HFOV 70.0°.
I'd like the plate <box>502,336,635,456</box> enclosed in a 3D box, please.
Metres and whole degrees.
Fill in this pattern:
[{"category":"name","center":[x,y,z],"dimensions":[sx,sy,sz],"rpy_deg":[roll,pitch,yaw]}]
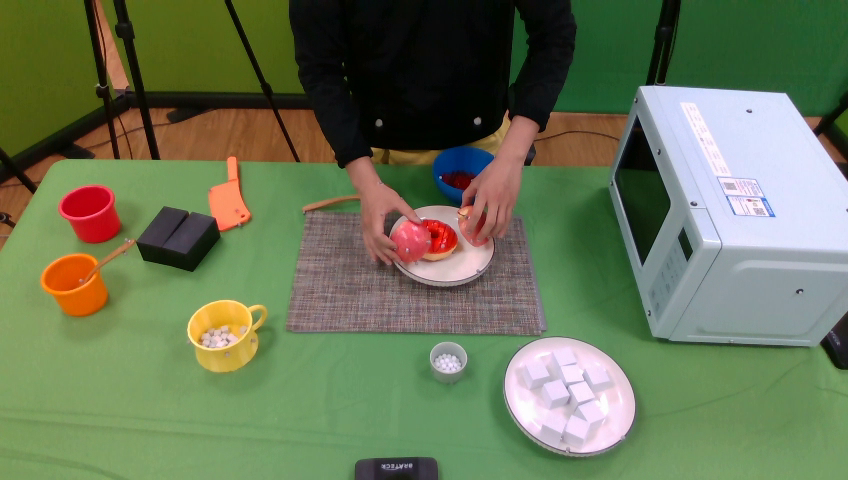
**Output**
[{"category":"plate","center":[0.225,0.248,0.964],"dimensions":[0.208,0.039,0.206],"rpy_deg":[2,46,-2]}]

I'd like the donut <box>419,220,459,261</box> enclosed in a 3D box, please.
[{"category":"donut","center":[0.017,0.000,1.169],"dimensions":[0.099,0.048,0.098],"rpy_deg":[5,40,-4]}]

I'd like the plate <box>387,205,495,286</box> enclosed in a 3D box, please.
[{"category":"plate","center":[0.033,0.014,1.171],"dimensions":[0.209,0.038,0.208],"rpy_deg":[2,46,-2]}]

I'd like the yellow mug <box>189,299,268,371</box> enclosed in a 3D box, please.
[{"category":"yellow mug","center":[-0.316,0.148,1.002],"dimensions":[0.131,0.064,0.099],"rpy_deg":[-33,56,-31]}]

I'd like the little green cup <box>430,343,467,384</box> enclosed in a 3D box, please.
[{"category":"little green cup","center":[0.039,0.203,0.994],"dimensions":[0.061,0.039,0.061],"rpy_deg":[2,46,-2]}]

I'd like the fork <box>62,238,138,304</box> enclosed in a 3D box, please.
[{"category":"fork","center":[-0.547,0.053,1.018],"dimensions":[0.207,0.019,0.028],"rpy_deg":[-36,41,23]}]

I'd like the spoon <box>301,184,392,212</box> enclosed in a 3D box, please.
[{"category":"spoon","center":[-0.162,-0.087,1.270],"dimensions":[0.194,0.022,0.041],"rpy_deg":[-11,62,-15]}]

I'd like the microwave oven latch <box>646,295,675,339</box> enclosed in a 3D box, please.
[{"category":"microwave oven latch","center":[0.412,0.134,1.061],"dimensions":[0.030,0.029,0.078],"rpy_deg":[4,45,1]}]

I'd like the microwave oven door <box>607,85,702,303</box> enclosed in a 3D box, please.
[{"category":"microwave oven door","center":[0.423,-0.094,1.141],"dimensions":[0.039,0.245,0.353],"rpy_deg":[2,46,-1]}]

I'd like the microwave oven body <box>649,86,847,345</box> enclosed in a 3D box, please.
[{"category":"microwave oven body","center":[0.568,-0.053,1.118],"dimensions":[0.326,0.261,0.439],"rpy_deg":[2,45,-1]}]

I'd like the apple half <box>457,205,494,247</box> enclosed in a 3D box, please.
[{"category":"apple half","center":[0.104,-0.031,1.157],"dimensions":[0.053,0.075,0.080],"rpy_deg":[-31,27,20]}]

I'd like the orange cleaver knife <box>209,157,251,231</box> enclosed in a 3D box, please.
[{"category":"orange cleaver knife","center":[-0.409,-0.099,1.266],"dimensions":[0.077,0.012,0.210],"rpy_deg":[-14,50,-10]}]

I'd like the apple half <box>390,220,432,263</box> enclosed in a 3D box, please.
[{"category":"apple half","center":[-0.022,0.004,1.105],"dimensions":[0.081,0.081,0.032],"rpy_deg":[-11,14,-14]}]

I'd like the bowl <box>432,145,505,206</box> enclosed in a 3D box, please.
[{"category":"bowl","center":[0.091,-0.124,1.286],"dimensions":[0.151,0.077,0.150],"rpy_deg":[2,46,-2]}]
